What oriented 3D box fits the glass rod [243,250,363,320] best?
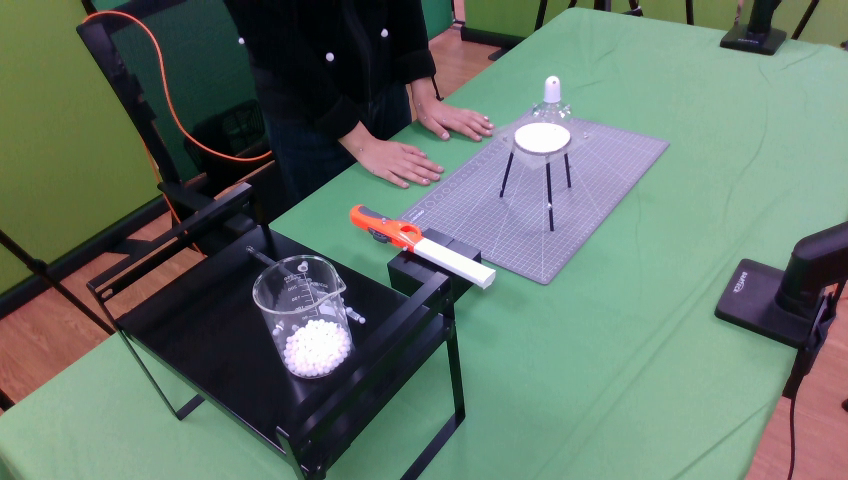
[{"bbox_3d":[-0.141,0.046,0.674,0.198,0.008,0.008,24,49,32],"label":"glass rod"}]

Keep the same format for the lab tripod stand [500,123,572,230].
[{"bbox_3d":[0.194,-0.110,0.985,0.148,0.132,0.147,-3,41,3],"label":"lab tripod stand"}]

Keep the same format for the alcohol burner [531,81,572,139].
[{"bbox_3d":[0.246,-0.256,1.165,0.078,0.119,0.077,-6,40,6],"label":"alcohol burner"}]

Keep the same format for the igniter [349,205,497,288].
[{"bbox_3d":[-0.013,0.004,0.897,0.274,0.025,0.057,25,44,32],"label":"igniter"}]

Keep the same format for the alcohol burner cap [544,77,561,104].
[{"bbox_3d":[0.243,-0.285,1.143,0.034,0.048,0.033,-5,37,4],"label":"alcohol burner cap"}]

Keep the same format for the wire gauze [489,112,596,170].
[{"bbox_3d":[0.183,-0.161,0.942,0.122,0.011,0.124,-24,44,-18],"label":"wire gauze"}]

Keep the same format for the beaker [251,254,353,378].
[{"bbox_3d":[-0.106,0.074,0.565,0.084,0.101,0.073,-1,41,8],"label":"beaker"}]
